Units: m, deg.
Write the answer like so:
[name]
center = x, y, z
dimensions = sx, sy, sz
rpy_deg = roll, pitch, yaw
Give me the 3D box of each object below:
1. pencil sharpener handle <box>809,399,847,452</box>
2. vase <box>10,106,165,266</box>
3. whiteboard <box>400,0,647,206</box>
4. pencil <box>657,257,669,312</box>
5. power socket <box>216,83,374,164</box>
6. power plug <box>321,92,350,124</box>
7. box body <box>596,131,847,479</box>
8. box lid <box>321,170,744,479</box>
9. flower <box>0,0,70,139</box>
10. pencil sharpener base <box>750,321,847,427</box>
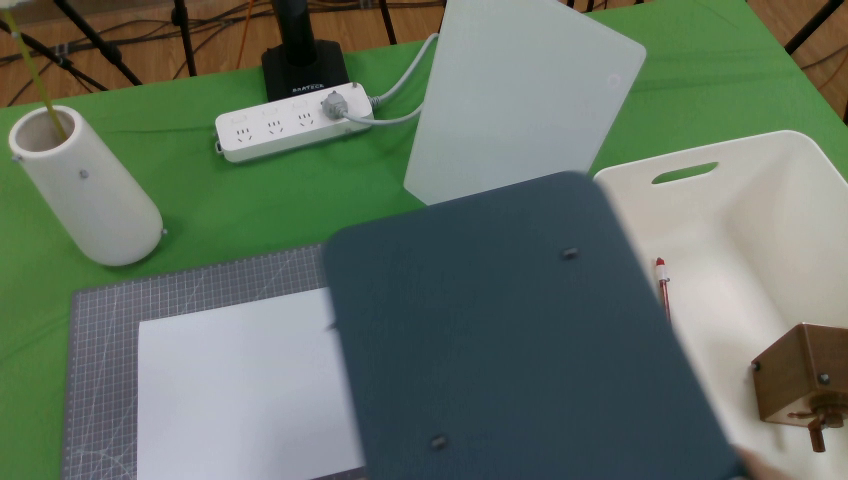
[pencil sharpener handle]
center = 0.379, 0.175, 0.566
dimensions = 0.036, 0.068, 0.030
rpy_deg = 1, 57, 13
[vase]
center = -0.368, -0.053, 0.673
dimensions = 0.098, 0.202, 0.097
rpy_deg = -1, 57, 1
[whiteboard]
center = 0.125, -0.143, 0.707
dimensions = 0.215, 0.307, 0.144
rpy_deg = 38, 46, 22
[pencil]
center = 0.274, 0.106, 0.684
dimensions = 0.012, 0.012, 0.192
rpy_deg = 6, 61, 4
[power socket]
center = -0.177, -0.163, 0.842
dimensions = 0.227, 0.033, 0.071
rpy_deg = -17, 60, -11
[power plug]
center = -0.119, -0.167, 0.817
dimensions = 0.035, 0.053, 0.072
rpy_deg = -8, 60, -5
[box body]
center = 0.330, 0.092, 0.608
dimensions = 0.254, 0.162, 0.360
rpy_deg = -13, 59, -8
[box lid]
center = 0.073, 0.118, 0.458
dimensions = 0.263, 0.015, 0.368
rpy_deg = -14, 63, -3
[flower]
center = -0.366, -0.114, 0.614
dimensions = 0.038, 0.365, 0.043
rpy_deg = -22, 42, -21
[pencil sharpener base]
center = 0.383, 0.139, 0.604
dimensions = 0.061, 0.108, 0.076
rpy_deg = 7, 58, 3
